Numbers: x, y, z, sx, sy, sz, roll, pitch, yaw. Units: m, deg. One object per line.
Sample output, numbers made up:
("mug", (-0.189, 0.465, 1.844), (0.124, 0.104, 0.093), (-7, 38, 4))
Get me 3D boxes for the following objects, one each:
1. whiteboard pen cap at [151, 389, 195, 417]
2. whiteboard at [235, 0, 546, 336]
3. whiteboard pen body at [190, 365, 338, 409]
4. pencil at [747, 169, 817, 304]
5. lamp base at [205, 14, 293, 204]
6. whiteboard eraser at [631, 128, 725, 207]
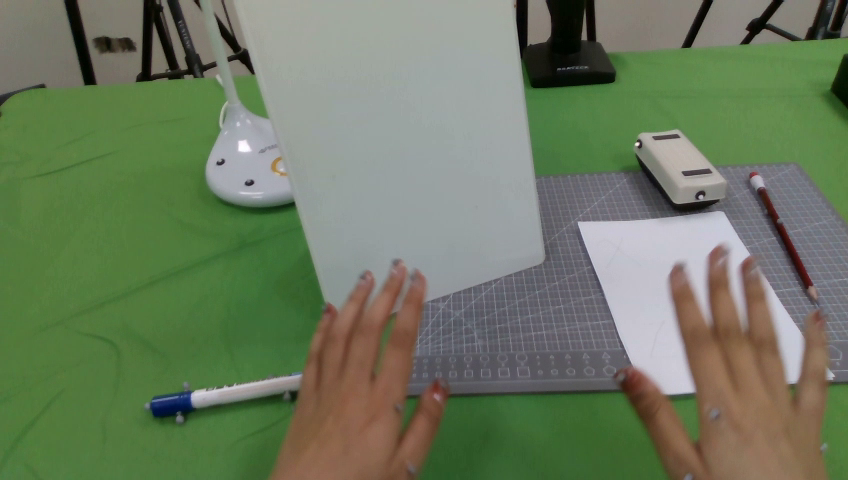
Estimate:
("whiteboard pen cap", (-0.201, 0.131, 0.489), (0.033, 0.018, 0.018), (-10, 41, -5))
("whiteboard", (-0.030, -0.105, 0.567), (0.217, 0.307, 0.142), (-17, 23, -12))
("whiteboard pen body", (-0.141, 0.122, 0.496), (0.141, 0.017, 0.017), (-10, 41, -5))
("pencil", (0.353, -0.010, 0.600), (0.012, 0.012, 0.192), (1, 43, 7))
("lamp base", (-0.199, -0.157, 0.694), (0.177, 0.182, 0.160), (27, 50, 34))
("whiteboard eraser", (0.274, -0.079, 0.661), (0.055, 0.042, 0.111), (-9, 41, -3))
